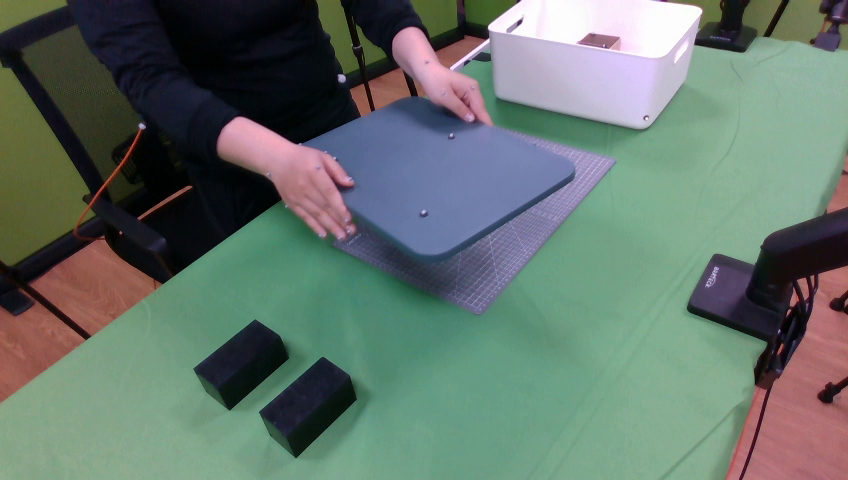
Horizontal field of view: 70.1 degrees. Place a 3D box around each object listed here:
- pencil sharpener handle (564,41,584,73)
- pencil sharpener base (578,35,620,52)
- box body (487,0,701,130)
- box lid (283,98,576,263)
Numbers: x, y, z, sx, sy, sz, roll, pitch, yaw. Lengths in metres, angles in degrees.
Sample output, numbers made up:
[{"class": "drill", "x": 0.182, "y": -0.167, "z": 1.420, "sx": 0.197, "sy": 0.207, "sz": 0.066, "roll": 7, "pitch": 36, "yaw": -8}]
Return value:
[{"class": "pencil sharpener handle", "x": 0.318, "y": -0.391, "z": 1.289, "sx": 0.030, "sy": 0.068, "sz": 0.036, "roll": 20, "pitch": 39, "yaw": 30}, {"class": "pencil sharpener base", "x": 0.362, "y": -0.368, "z": 1.273, "sx": 0.076, "sy": 0.107, "sz": 0.061, "roll": 20, "pitch": 48, "yaw": 30}, {"class": "box body", "x": 0.345, "y": -0.379, "z": 1.257, "sx": 0.361, "sy": 0.161, "sz": 0.255, "roll": 20, "pitch": 48, "yaw": 29}, {"class": "box lid", "x": -0.005, "y": -0.103, "z": 0.835, "sx": 0.264, "sy": 0.015, "sz": 0.368, "roll": -31, "pitch": 43, "yaw": -26}]
